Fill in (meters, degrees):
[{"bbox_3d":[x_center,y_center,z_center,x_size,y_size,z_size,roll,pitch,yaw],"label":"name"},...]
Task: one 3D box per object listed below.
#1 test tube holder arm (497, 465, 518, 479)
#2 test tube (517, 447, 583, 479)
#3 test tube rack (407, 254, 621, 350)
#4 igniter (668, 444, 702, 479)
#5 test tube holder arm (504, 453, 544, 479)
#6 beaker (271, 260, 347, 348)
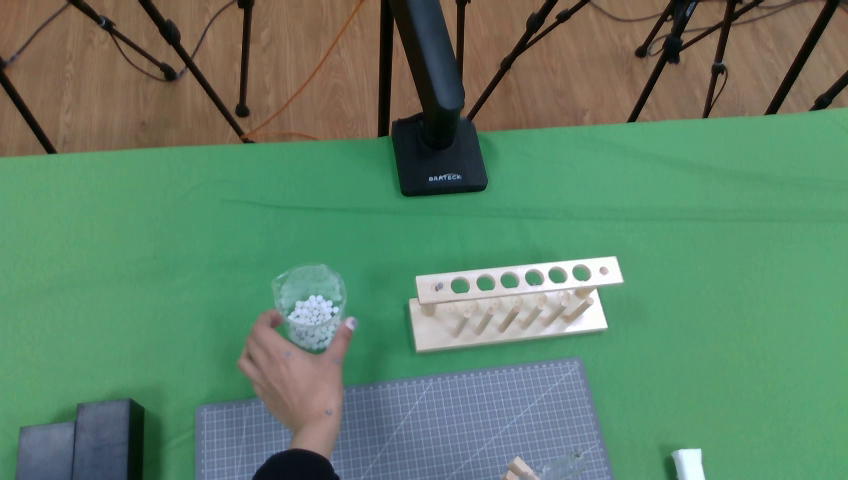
[{"bbox_3d":[0.100,0.222,0.512,0.088,0.015,0.010,37,52,1],"label":"test tube holder arm"},{"bbox_3d":[0.086,0.203,0.514,0.017,0.151,0.017,13,53,-18],"label":"test tube"},{"bbox_3d":[0.107,0.074,0.721,0.243,0.085,0.066,-5,65,-10],"label":"test tube rack"},{"bbox_3d":[0.305,0.362,0.645,0.057,0.025,0.274,5,64,-16],"label":"igniter"},{"bbox_3d":[0.138,0.248,0.512,0.178,0.015,0.013,42,53,6],"label":"test tube holder arm"},{"bbox_3d":[-0.128,0.075,0.679,0.084,0.101,0.073,21,63,3],"label":"beaker"}]
